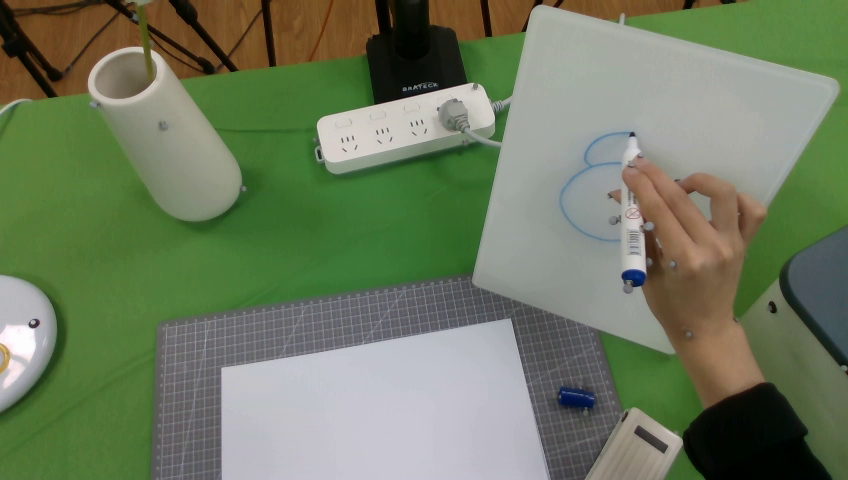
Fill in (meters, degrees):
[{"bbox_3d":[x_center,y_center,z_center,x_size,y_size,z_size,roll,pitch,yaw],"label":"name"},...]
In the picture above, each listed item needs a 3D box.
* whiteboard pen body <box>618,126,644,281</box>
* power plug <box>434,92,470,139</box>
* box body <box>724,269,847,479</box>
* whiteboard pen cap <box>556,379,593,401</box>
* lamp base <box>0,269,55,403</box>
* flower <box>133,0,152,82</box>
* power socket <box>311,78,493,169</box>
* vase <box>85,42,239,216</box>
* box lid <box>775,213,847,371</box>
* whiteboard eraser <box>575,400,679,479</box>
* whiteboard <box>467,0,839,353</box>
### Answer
[{"bbox_3d":[0.148,-0.032,0.434,0.017,0.017,0.139,8,56,7],"label":"whiteboard pen body"},{"bbox_3d":[0.031,-0.137,0.699,0.035,0.053,0.072,-4,69,0],"label":"power plug"},{"bbox_3d":[0.471,0.141,0.499,0.254,0.161,0.360,-26,65,-11],"label":"box body"},{"bbox_3d":[0.145,0.146,0.585,0.033,0.018,0.018,9,64,3],"label":"whiteboard pen cap"},{"bbox_3d":[-0.476,0.063,0.556,0.178,0.182,0.160,21,65,15],"label":"lamp base"},{"bbox_3d":[-0.246,-0.139,0.548,0.038,0.363,0.044,39,61,1],"label":"flower"},{"bbox_3d":[-0.025,-0.141,0.727,0.227,0.033,0.071,-14,65,-6],"label":"power socket"},{"bbox_3d":[-0.264,-0.106,0.624,0.098,0.201,0.097,-1,63,3],"label":"vase"},{"bbox_3d":[0.467,0.104,0.433,0.263,0.015,0.368,-26,66,-10],"label":"box lid"},{"bbox_3d":[0.176,0.203,0.541,0.055,0.042,0.112,33,69,18],"label":"whiteboard eraser"},{"bbox_3d":[0.187,-0.072,0.569,0.216,0.308,0.143,20,45,12],"label":"whiteboard"}]
